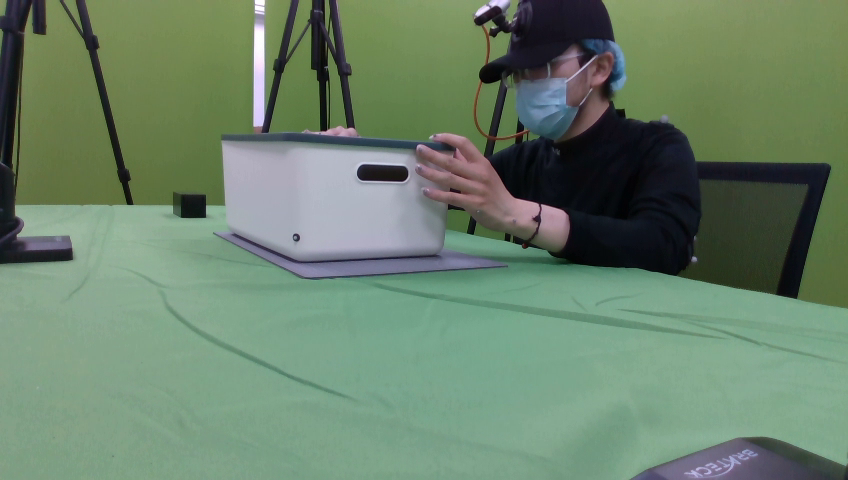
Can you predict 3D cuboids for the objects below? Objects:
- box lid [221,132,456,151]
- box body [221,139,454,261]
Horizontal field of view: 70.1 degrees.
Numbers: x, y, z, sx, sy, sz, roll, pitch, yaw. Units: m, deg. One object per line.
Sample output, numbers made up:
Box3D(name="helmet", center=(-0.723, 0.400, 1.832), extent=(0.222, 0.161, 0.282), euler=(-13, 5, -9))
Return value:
Box3D(name="box lid", center=(-0.147, -0.152, 0.948), extent=(0.265, 0.015, 0.369), euler=(-2, 9, -32))
Box3D(name="box body", center=(-0.152, -0.074, 0.963), extent=(0.255, 0.160, 0.362), euler=(-3, 9, -33))
